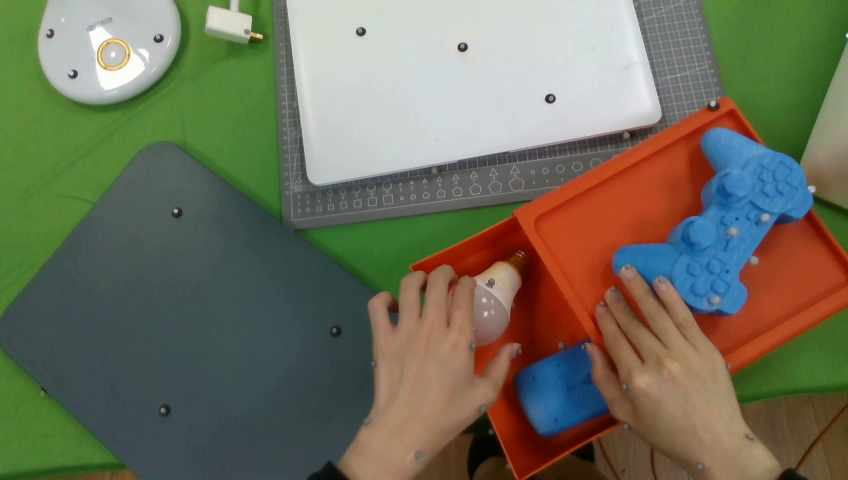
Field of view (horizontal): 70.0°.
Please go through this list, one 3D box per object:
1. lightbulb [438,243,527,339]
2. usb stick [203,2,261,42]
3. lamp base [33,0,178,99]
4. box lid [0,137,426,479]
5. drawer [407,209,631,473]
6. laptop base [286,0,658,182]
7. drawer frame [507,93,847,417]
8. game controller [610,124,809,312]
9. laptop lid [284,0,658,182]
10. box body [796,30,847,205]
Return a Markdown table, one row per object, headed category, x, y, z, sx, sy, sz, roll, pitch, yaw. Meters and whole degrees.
| category | x | y | z | sx | sy | sz | roll | pitch | yaw |
| --- | --- | --- | --- | --- | --- | --- | --- | --- | --- |
| lightbulb | 0.057 | 0.042 | 0.545 | 0.059 | 0.060 | 0.107 | 37 | 65 | 14 |
| usb stick | -0.204 | -0.230 | 0.646 | 0.059 | 0.021 | 0.027 | 10 | 79 | -26 |
| lamp base | -0.363 | -0.258 | 0.595 | 0.160 | 0.181 | 0.178 | -35 | 72 | -5 |
| box lid | -0.212 | 0.086 | 0.582 | 0.370 | 0.015 | 0.263 | 35 | 81 | 11 |
| drawer | 0.121 | 0.061 | 0.525 | 0.212 | 0.073 | 0.193 | -27 | 74 | -2 |
| laptop base | 0.039 | -0.197 | 0.628 | 0.354 | 0.023 | 0.234 | -10 | 78 | 2 |
| drawer frame | 0.211 | 0.013 | 0.525 | 0.213 | 0.083 | 0.200 | -29 | 75 | -2 |
| game controller | 0.229 | -0.017 | 0.478 | 0.097 | 0.052 | 0.155 | 38 | 84 | 9 |
| laptop lid | 0.038 | -0.197 | 0.616 | 0.357 | 0.013 | 0.240 | -8 | 78 | 3 |
| box body | 0.514 | -0.172 | 0.506 | 0.253 | 0.161 | 0.363 | 25 | 79 | 11 |
